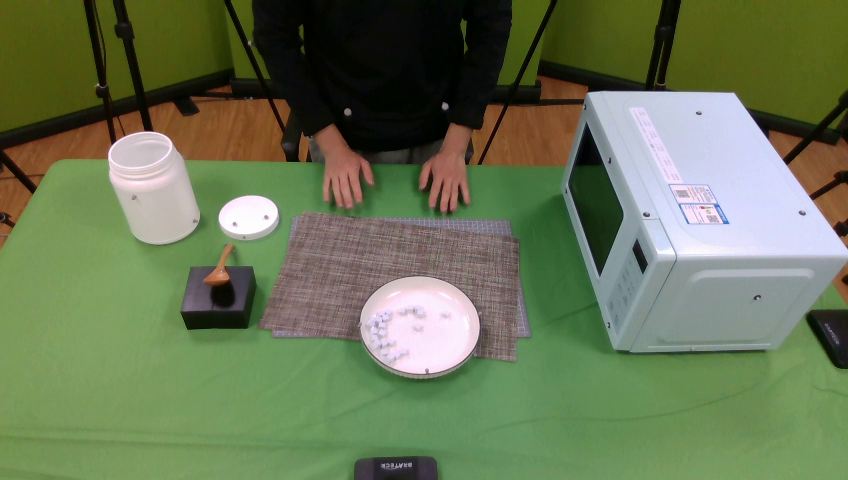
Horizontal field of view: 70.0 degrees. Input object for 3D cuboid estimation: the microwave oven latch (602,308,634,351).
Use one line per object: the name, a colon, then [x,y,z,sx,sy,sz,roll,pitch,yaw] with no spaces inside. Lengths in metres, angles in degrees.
microwave oven latch: [0.332,0.153,1.044,0.030,0.029,0.078,-1,45,-4]

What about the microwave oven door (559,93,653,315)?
microwave oven door: [0.327,-0.074,1.123,0.039,0.245,0.353,-1,46,-5]

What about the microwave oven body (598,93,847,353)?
microwave oven body: [0.475,-0.041,1.109,0.326,0.261,0.438,-1,45,-4]

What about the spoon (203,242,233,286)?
spoon: [-0.360,0.039,1.087,0.041,0.022,0.192,-5,24,-7]

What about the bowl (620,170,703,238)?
bowl: [0.445,-0.057,1.166,0.151,0.077,0.150,1,46,-1]

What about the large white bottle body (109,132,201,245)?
large white bottle body: [-0.506,-0.097,1.141,0.131,0.185,0.130,2,46,-2]

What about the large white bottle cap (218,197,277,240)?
large white bottle cap: [-0.354,-0.045,1.220,0.115,0.018,0.114,2,45,-2]

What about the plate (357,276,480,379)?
plate: [-0.010,0.151,1.038,0.209,0.038,0.208,2,47,-2]
